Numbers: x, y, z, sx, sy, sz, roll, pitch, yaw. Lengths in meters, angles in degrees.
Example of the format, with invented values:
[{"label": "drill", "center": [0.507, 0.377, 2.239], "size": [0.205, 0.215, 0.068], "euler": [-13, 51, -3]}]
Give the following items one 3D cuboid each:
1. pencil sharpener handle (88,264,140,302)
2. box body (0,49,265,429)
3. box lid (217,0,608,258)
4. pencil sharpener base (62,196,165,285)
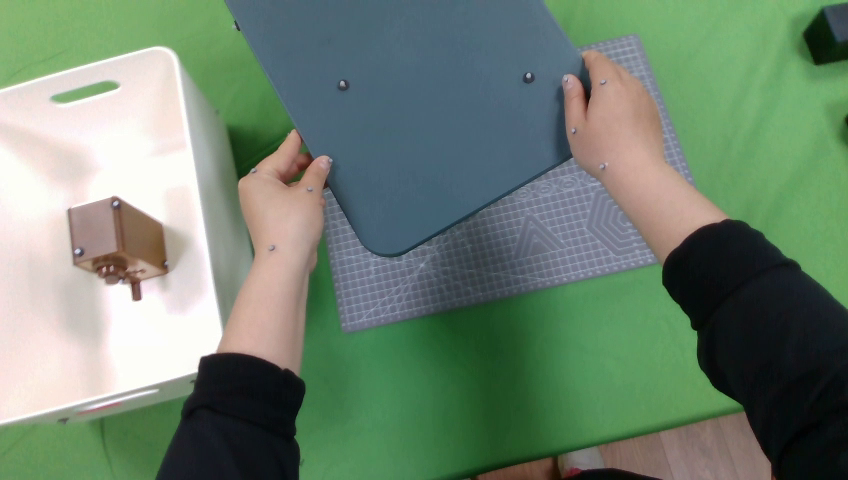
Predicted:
[{"label": "pencil sharpener handle", "center": [-0.342, 0.050, 0.677], "size": [0.036, 0.068, 0.030], "euler": [-17, 73, 7]}, {"label": "box body", "center": [-0.343, 0.006, 0.680], "size": [0.254, 0.161, 0.361], "euler": [-16, 73, 0]}, {"label": "box lid", "center": [-0.026, -0.194, 0.578], "size": [0.263, 0.015, 0.369], "euler": [-30, 79, -4]}, {"label": "pencil sharpener base", "center": [-0.356, 0.007, 0.702], "size": [0.061, 0.107, 0.076], "euler": [-15, 74, -1]}]
